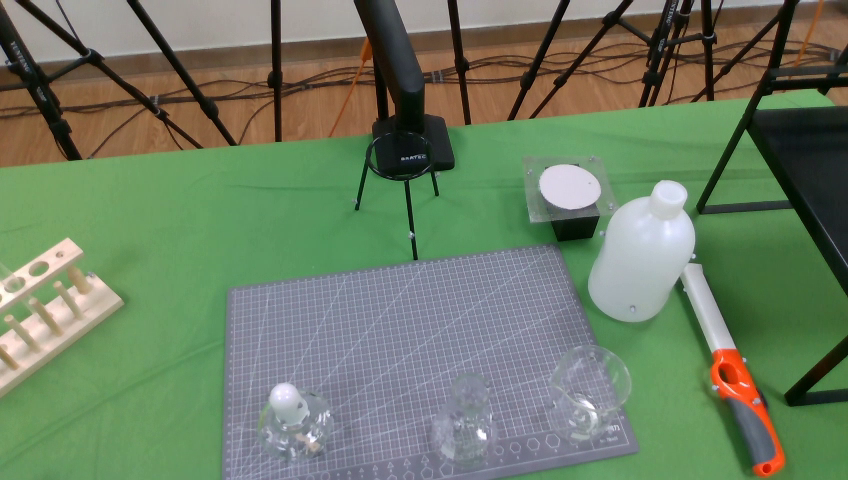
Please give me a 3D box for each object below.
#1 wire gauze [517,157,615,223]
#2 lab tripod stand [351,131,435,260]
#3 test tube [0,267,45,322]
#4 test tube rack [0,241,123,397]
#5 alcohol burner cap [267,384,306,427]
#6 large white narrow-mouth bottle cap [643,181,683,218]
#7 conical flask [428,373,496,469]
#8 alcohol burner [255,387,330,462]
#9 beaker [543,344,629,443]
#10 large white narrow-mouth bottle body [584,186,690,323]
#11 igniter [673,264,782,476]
[{"bbox_3d":[0.196,-0.074,0.847,0.121,0.011,0.124,-2,51,-2],"label":"wire gauze"},{"bbox_3d":[-0.033,-0.067,0.821,0.148,0.132,0.147,2,52,-2],"label":"lab tripod stand"},{"bbox_3d":[-0.471,0.052,0.685,0.017,0.151,0.017,1,54,-1],"label":"test tube"},{"bbox_3d":[-0.488,0.115,0.699,0.066,0.086,0.242,33,58,23],"label":"test tube rack"},{"bbox_3d":[-0.138,0.162,0.600,0.034,0.048,0.033,-3,52,4],"label":"alcohol burner cap"},{"bbox_3d":[0.259,-0.045,0.658,0.038,0.024,0.037,0,51,0],"label":"large white narrow-mouth bottle cap"},{"bbox_3d":[0.042,0.182,0.628,0.075,0.123,0.074,0,51,0],"label":"conical flask"},{"bbox_3d":[-0.138,0.184,0.629,0.078,0.120,0.077,2,50,-2],"label":"alcohol burner"},{"bbox_3d":[0.167,0.170,0.654,0.084,0.101,0.073,-3,51,-2],"label":"beaker"},{"bbox_3d":[0.259,0.011,0.724,0.102,0.196,0.101,0,51,0],"label":"large white narrow-mouth bottle body"},{"bbox_3d":[0.358,0.143,0.728,0.057,0.025,0.273,3,51,-11],"label":"igniter"}]
